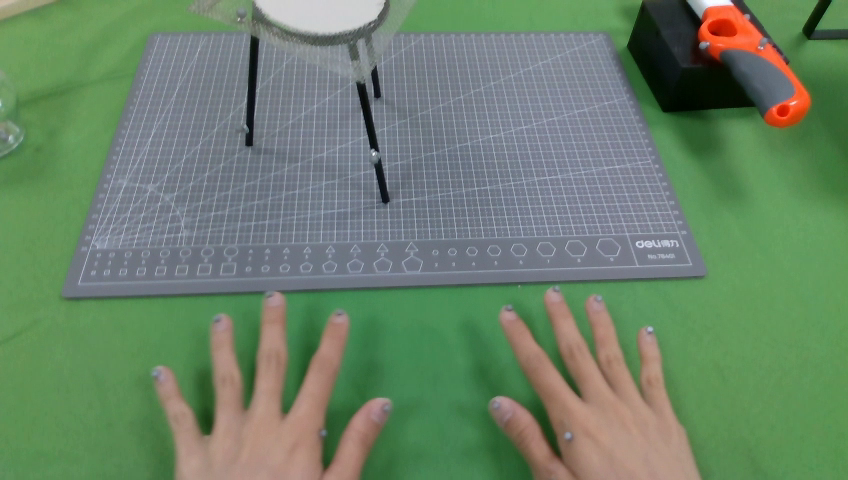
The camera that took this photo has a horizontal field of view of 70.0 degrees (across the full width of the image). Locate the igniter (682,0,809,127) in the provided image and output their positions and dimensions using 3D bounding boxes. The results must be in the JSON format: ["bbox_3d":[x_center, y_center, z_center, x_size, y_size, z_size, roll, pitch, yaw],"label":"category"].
[{"bbox_3d":[0.260,-0.194,0.536,0.057,0.025,0.273,-6,51,-4],"label":"igniter"}]

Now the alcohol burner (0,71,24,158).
[{"bbox_3d":[-0.351,-0.114,0.444,0.078,0.120,0.077,1,55,-1],"label":"alcohol burner"}]

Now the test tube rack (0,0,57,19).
[{"bbox_3d":[-0.362,-0.304,0.603,0.242,0.086,0.066,-33,62,-25],"label":"test tube rack"}]

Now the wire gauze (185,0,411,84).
[{"bbox_3d":[-0.069,-0.159,0.395,0.124,0.011,0.121,21,55,10],"label":"wire gauze"}]

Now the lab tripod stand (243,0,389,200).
[{"bbox_3d":[-0.068,-0.117,0.448,0.148,0.132,0.147,3,53,-4],"label":"lab tripod stand"}]
